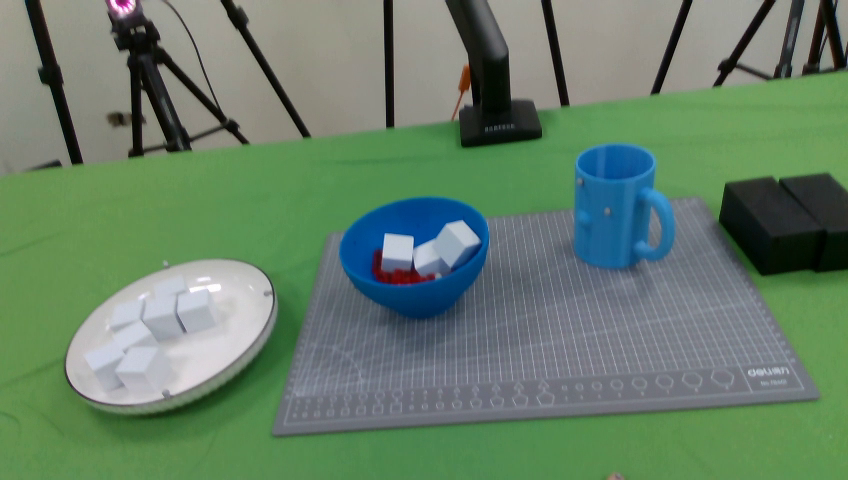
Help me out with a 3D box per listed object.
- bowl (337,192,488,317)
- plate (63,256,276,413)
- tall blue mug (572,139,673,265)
[{"bbox_3d":[-0.007,0.024,0.616,0.151,0.077,0.150,-6,37,5],"label":"bowl"},{"bbox_3d":[-0.251,0.094,0.617,0.209,0.038,0.207,-6,37,5],"label":"plate"},{"bbox_3d":[0.206,-0.035,0.619,0.106,0.109,0.077,15,43,29],"label":"tall blue mug"}]
